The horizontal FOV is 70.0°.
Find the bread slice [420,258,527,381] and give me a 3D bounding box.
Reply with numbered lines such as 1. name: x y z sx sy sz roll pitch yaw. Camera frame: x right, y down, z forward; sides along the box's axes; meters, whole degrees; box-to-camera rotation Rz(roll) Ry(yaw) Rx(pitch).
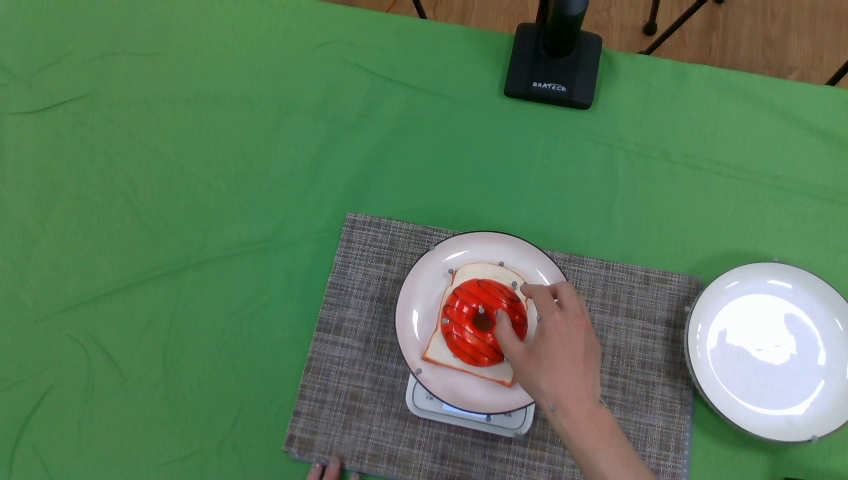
1. bread slice: 0.062 0.084 0.694 0.105 0.019 0.131 15 75 4

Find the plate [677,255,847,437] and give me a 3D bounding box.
1. plate: 0.398 0.122 0.706 0.207 0.039 0.206 0 74 1

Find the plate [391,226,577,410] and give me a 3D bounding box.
1. plate: 0.067 0.087 0.691 0.209 0.038 0.208 0 74 1

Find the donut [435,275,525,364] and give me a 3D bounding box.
1. donut: 0.061 0.086 0.662 0.099 0.048 0.098 0 76 -1

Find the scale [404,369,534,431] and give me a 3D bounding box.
1. scale: 0.065 0.113 0.717 0.148 0.032 0.200 11 74 5
